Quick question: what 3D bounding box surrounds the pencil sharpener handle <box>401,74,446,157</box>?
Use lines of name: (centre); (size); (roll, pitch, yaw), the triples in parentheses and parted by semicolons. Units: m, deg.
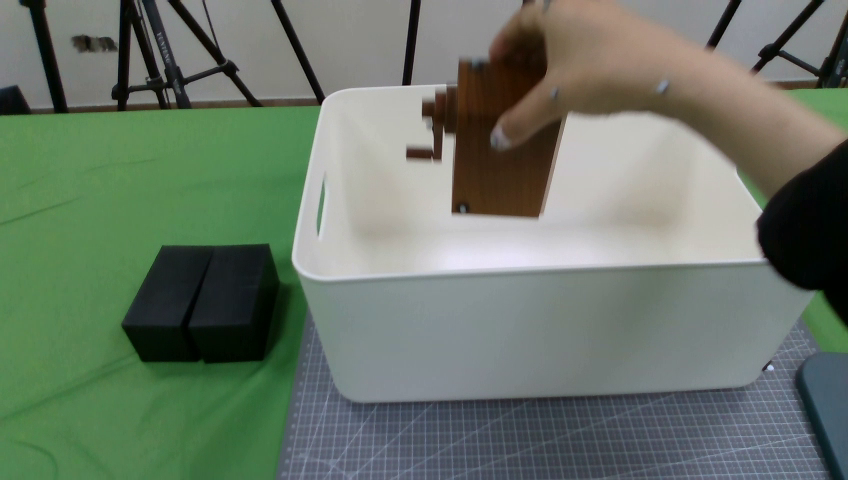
pencil sharpener handle: (-0.001, -0.083, 0.417); (0.030, 0.068, 0.035); (2, 53, 1)

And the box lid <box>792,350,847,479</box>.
box lid: (0.469, 0.190, 0.402); (0.371, 0.015, 0.261); (3, 42, 5)

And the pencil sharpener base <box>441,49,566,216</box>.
pencil sharpener base: (0.050, -0.073, 0.426); (0.077, 0.108, 0.061); (2, 51, 0)

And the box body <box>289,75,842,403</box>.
box body: (0.093, -0.007, 0.522); (0.364, 0.162, 0.251); (-3, 42, 0)
